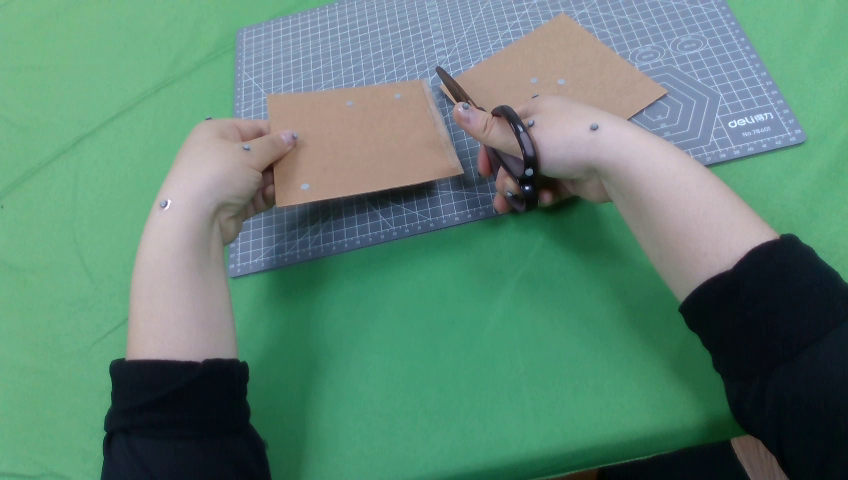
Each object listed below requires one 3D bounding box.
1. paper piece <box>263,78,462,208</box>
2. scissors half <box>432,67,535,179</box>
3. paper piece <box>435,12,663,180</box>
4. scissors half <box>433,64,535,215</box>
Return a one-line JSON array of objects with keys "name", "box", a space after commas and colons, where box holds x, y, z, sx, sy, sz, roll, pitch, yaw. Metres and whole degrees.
[{"name": "paper piece", "box": [-0.054, -0.082, 0.469, 0.138, 0.009, 0.134, -11, 44, -6]}, {"name": "scissors half", "box": [0.038, -0.097, 0.447, 0.013, 0.040, 0.173, -18, 37, -12]}, {"name": "paper piece", "box": [0.100, -0.127, 0.507, 0.135, 0.004, 0.134, -33, 59, -7]}, {"name": "scissors half", "box": [0.040, -0.083, 0.463, 0.013, 0.040, 0.173, -21, 58, -8]}]
